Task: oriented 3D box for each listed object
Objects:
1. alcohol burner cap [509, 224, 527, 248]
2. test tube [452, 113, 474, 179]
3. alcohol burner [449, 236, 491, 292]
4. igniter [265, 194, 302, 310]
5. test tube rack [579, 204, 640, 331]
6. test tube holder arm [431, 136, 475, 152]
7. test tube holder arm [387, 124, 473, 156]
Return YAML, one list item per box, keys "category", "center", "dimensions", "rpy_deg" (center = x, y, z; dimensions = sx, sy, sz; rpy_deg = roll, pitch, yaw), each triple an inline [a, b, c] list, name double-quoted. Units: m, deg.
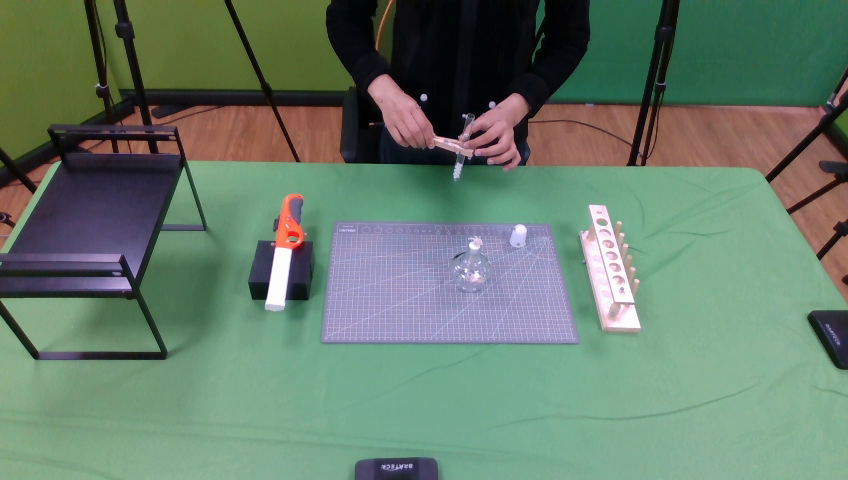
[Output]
- category: "alcohol burner cap"
  center: [0.189, -0.011, 1.206]
  dimensions: [0.034, 0.048, 0.033]
  rpy_deg: [1, 45, -1]
- category: "test tube"
  center: [0.072, -0.174, 1.141]
  dimensions: [0.017, 0.151, 0.017]
  rpy_deg: [6, 46, -6]
- category: "alcohol burner"
  center: [0.086, 0.038, 1.101]
  dimensions: [0.078, 0.119, 0.077]
  rpy_deg: [3, 44, -2]
- category: "igniter"
  center: [-0.253, 0.011, 1.099]
  dimensions: [0.057, 0.025, 0.274]
  rpy_deg: [9, 46, -12]
- category: "test tube rack"
  center: [0.353, 0.047, 1.137]
  dimensions: [0.067, 0.085, 0.241]
  rpy_deg: [2, 46, -2]
- category: "test tube holder arm"
  center: [0.054, -0.182, 1.147]
  dimensions: [0.088, 0.015, 0.010]
  rpy_deg: [12, 42, 8]
- category: "test tube holder arm"
  center: [0.010, -0.191, 1.153]
  dimensions: [0.178, 0.015, 0.013]
  rpy_deg: [18, 43, 15]
